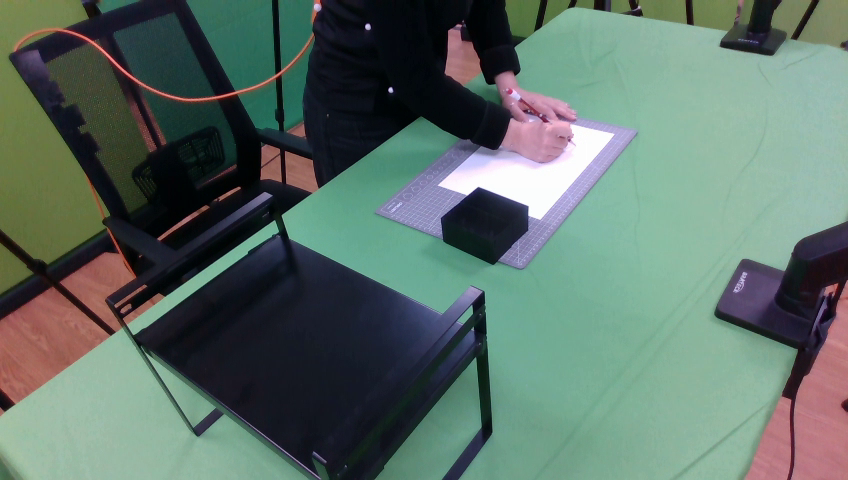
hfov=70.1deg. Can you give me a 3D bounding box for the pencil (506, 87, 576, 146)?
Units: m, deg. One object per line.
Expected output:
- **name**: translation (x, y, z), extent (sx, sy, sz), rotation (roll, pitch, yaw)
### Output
- **pencil**: translation (0.218, -0.221, 1.102), extent (0.012, 0.196, 0.012), rotation (-35, 40, 35)
